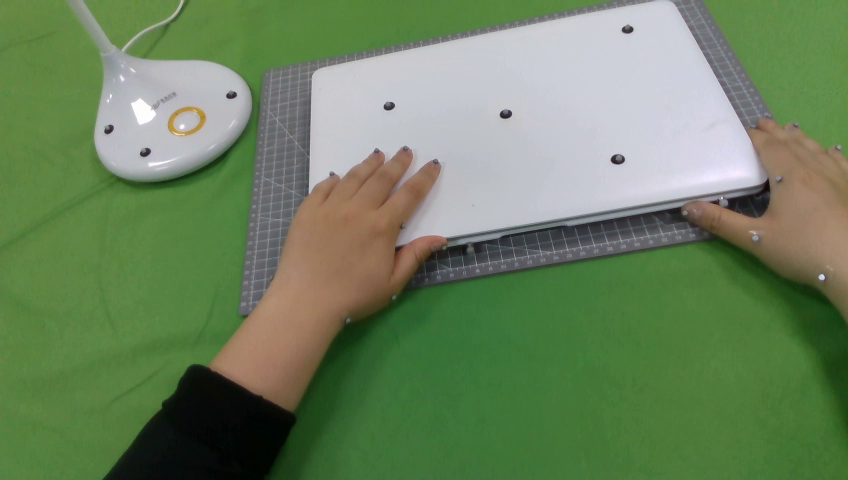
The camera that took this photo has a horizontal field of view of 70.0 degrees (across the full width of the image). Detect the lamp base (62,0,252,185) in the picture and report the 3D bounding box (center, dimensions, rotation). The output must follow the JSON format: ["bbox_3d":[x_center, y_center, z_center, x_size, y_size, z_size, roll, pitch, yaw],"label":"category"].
[{"bbox_3d":[-0.275,-0.166,0.554,0.178,0.182,0.160,24,62,28],"label":"lamp base"}]

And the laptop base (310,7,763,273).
[{"bbox_3d":[0.073,-0.095,0.533,0.354,0.023,0.233,-10,57,4],"label":"laptop base"}]

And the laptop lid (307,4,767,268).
[{"bbox_3d":[0.071,-0.101,0.519,0.356,0.013,0.239,-9,54,5],"label":"laptop lid"}]
